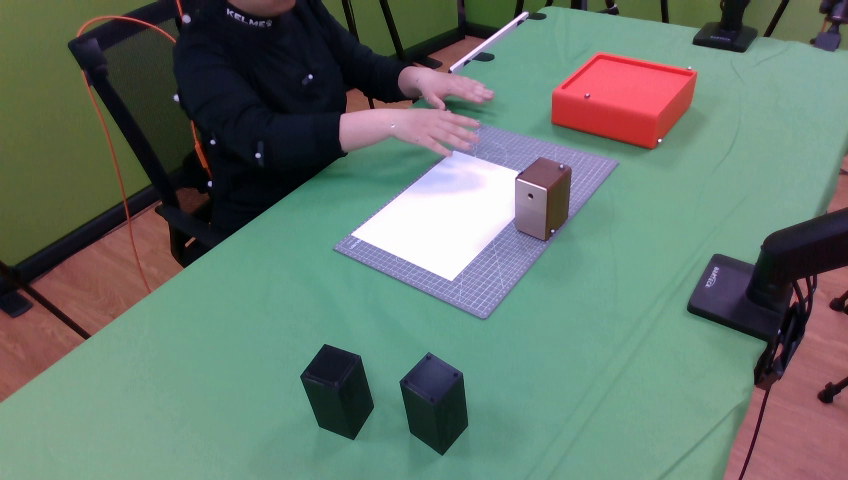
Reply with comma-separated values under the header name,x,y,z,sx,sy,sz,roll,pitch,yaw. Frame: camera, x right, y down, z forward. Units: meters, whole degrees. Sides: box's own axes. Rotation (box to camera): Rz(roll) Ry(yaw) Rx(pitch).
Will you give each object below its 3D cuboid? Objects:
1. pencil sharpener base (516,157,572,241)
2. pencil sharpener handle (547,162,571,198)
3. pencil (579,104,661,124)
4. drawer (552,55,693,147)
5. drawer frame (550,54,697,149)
name,x,y,z,sx,sy,sz,roll,pitch,yaw
pencil sharpener base,0.189,-0.065,0.948,0.061,0.107,0.077,24,49,33
pencil sharpener handle,0.221,-0.101,0.968,0.035,0.068,0.031,19,46,37
pencil,0.395,-0.255,1.212,0.195,0.012,0.012,-14,40,-17
drawer,0.389,-0.279,1.196,0.210,0.073,0.195,24,49,31
drawer frame,0.391,-0.280,1.194,0.212,0.083,0.202,23,48,30
